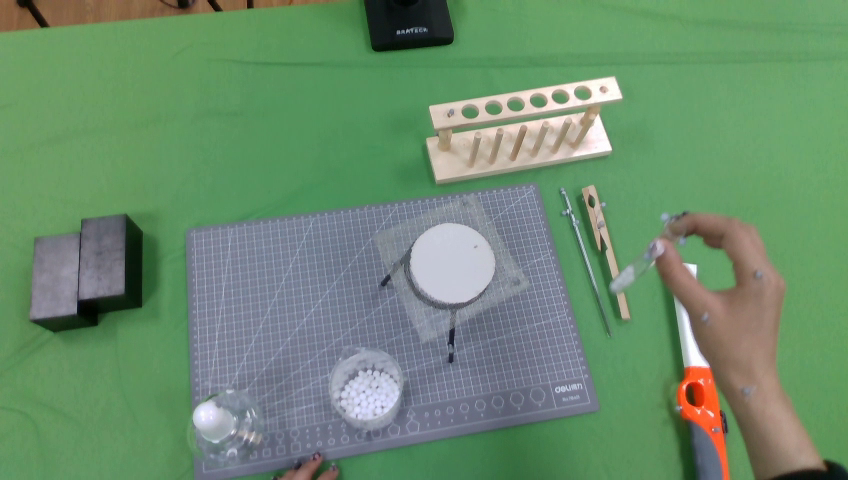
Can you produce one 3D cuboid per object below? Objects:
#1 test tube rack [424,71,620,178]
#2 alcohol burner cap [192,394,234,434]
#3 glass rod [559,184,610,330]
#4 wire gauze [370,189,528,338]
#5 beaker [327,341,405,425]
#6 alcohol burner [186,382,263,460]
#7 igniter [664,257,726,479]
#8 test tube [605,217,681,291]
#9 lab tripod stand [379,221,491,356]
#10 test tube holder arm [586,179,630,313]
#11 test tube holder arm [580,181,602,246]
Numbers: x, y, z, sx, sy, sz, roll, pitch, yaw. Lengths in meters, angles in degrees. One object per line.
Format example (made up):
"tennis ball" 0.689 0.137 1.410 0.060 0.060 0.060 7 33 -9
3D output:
"test tube rack" 0.126 -0.148 0.782 0.243 0.086 0.066 -10 69 -7
"alcohol burner cap" -0.205 0.165 0.581 0.034 0.048 0.033 2 58 -2
"glass rod" 0.200 0.018 0.761 0.008 0.008 0.198 -10 69 -7
"wire gauze" 0.024 0.018 0.608 0.121 0.011 0.124 -24 71 -11
"beaker" -0.062 0.153 0.640 0.074 0.101 0.083 -29 72 -14
"alcohol burner" -0.206 0.180 0.613 0.078 0.120 0.077 1 66 -2
"igniter" 0.313 0.151 0.705 0.057 0.025 0.274 6 68 -11
"test tube" 0.183 0.017 0.519 0.017 0.151 0.017 0 68 -1
"lab tripod stand" 0.016 0.045 0.669 0.148 0.132 0.147 1 69 -1
"test tube holder arm" 0.230 0.005 0.761 0.013 0.015 0.177 -21 67 25
"test tube holder arm" 0.217 -0.035 0.779 0.010 0.015 0.087 -21 67 25
